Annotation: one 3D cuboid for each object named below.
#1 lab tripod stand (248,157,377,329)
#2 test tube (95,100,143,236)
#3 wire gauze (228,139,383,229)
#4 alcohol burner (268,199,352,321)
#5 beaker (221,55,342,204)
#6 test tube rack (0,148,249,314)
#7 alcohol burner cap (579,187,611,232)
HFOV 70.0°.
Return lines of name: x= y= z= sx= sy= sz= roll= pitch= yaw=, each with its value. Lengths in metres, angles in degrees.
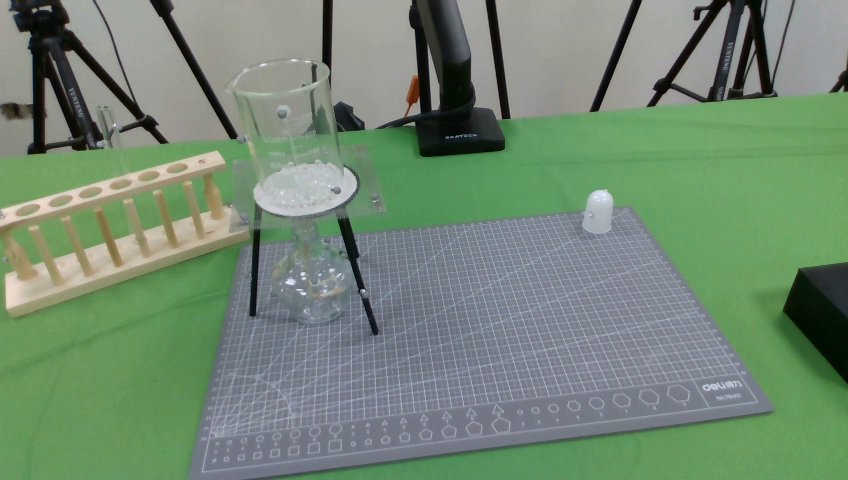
lab tripod stand: x=-0.101 y=0.003 z=0.556 sx=0.148 sy=0.133 sz=0.147 roll=-2 pitch=39 yaw=2
test tube: x=-0.316 y=-0.070 z=0.631 sx=0.017 sy=0.151 sz=0.017 roll=1 pitch=31 yaw=0
wire gauze: x=-0.104 y=-0.049 z=0.517 sx=0.125 sy=0.011 sz=0.120 roll=-11 pitch=35 yaw=-6
alcohol burner: x=-0.107 y=0.015 z=0.557 sx=0.078 sy=0.120 sz=0.077 roll=-2 pitch=35 yaw=2
beaker: x=-0.109 y=-0.086 z=0.484 sx=0.084 sy=0.101 sz=0.073 roll=-5 pitch=36 yaw=0
test tube rack: x=-0.322 y=-0.015 z=0.641 sx=0.243 sy=0.086 sz=0.066 roll=-21 pitch=40 yaw=-23
alcohol burner cap: x=0.189 y=-0.037 z=0.668 sx=0.034 sy=0.048 sz=0.033 roll=-2 pitch=37 yaw=2
